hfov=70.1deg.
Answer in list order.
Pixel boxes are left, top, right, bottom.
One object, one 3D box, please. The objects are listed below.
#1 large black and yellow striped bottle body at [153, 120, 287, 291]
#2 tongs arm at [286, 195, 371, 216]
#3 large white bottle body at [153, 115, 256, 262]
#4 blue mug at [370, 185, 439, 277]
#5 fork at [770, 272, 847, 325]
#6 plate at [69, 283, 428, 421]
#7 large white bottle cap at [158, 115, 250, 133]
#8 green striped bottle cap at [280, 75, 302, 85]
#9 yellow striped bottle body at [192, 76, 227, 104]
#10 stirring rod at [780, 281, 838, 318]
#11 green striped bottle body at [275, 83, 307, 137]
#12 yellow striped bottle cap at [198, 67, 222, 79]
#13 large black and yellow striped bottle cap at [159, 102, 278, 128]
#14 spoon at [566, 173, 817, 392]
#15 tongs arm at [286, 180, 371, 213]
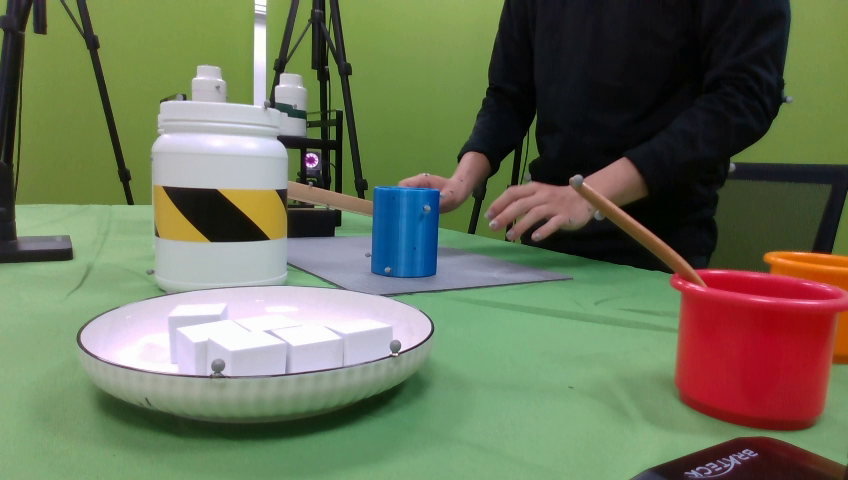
[{"bbox_3d":[-0.208,-0.042,0.626,0.131,0.184,0.130,2,7,0],"label":"large black and yellow striped bottle body"},{"bbox_3d":[-0.165,-0.074,1.216,0.389,0.027,0.028,11,-6,-24],"label":"tongs arm"},{"bbox_3d":[-0.293,-0.070,0.813,0.131,0.184,0.130,2,7,0],"label":"large white bottle body"},{"bbox_3d":[-0.025,-0.016,0.761,0.082,0.106,0.116,2,7,-2],"label":"blue mug"},{"bbox_3d":[0.331,0.018,0.443,0.028,0.018,0.207,0,-36,-15],"label":"fork"},{"bbox_3d":[-0.102,0.066,0.381,0.208,0.039,0.207,2,7,0],"label":"plate"},{"bbox_3d":[-0.291,-0.153,0.803,0.115,0.018,0.115,1,7,0],"label":"large white bottle cap"},{"bbox_3d":[-0.267,-0.320,1.216,0.044,0.020,0.044,2,9,0],"label":"green striped bottle cap"},{"bbox_3d":[-0.414,-0.268,1.169,0.063,0.120,0.063,2,7,0],"label":"yellow striped bottle body"},{"bbox_3d":[0.344,0.019,0.461,0.014,0.006,0.176,-14,-26,-31],"label":"stirring rod"},{"bbox_3d":[-0.269,-0.269,1.221,0.063,0.119,0.063,2,7,0],"label":"green striped bottle body"},{"bbox_3d":[-0.412,-0.320,1.162,0.044,0.018,0.044,1,5,0],"label":"yellow striped bottle cap"},{"bbox_3d":[-0.207,-0.125,0.615,0.115,0.019,0.115,2,6,0],"label":"large black and yellow striped bottle cap"},{"bbox_3d":[0.161,0.024,0.370,0.193,0.021,0.042,47,18,3],"label":"spoon"},{"bbox_3d":[-0.122,-0.066,1.147,0.387,0.026,0.050,11,-2,-37],"label":"tongs arm"}]
